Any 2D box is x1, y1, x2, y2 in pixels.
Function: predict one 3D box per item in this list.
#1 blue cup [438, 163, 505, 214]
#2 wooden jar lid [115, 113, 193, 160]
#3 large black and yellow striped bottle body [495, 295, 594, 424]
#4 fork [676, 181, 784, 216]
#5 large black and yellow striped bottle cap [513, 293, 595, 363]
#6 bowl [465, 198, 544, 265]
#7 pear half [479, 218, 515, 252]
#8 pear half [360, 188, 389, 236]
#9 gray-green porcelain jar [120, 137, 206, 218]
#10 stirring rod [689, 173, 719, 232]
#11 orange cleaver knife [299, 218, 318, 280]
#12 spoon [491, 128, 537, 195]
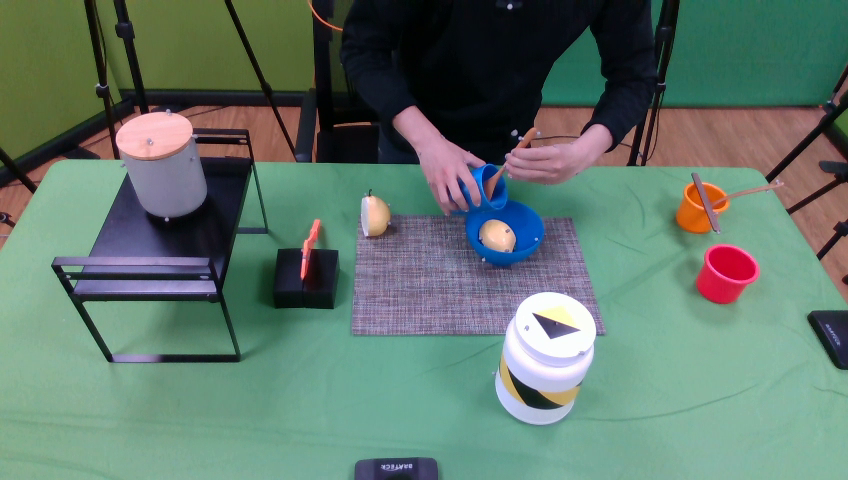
[{"bbox_3d":[0.082,-0.086,1.096,0.100,0.093,0.092,-13,37,33],"label":"blue cup"},{"bbox_3d":[-0.399,-0.151,0.900,0.108,0.021,0.107,3,46,-3],"label":"wooden jar lid"},{"bbox_3d":[0.183,0.182,0.923,0.131,0.185,0.130,2,46,-2],"label":"large black and yellow striped bottle body"},{"bbox_3d":[0.618,-0.084,1.235,0.207,0.019,0.028,-23,21,38],"label":"fork"},{"bbox_3d":[0.186,0.123,0.863,0.115,0.019,0.114,3,45,-3],"label":"large black and yellow striped bottle cap"},{"bbox_3d":[0.149,-0.004,1.167,0.151,0.077,0.150,2,46,-2],"label":"bowl"},{"bbox_3d":[0.143,-0.011,1.163,0.070,0.031,0.087,-18,56,-13],"label":"pear half"},{"bbox_3d":[-0.096,-0.060,1.181,0.056,0.110,0.076,-13,52,-17],"label":"pear half"},{"bbox_3d":[-0.403,-0.106,0.946,0.106,0.127,0.105,3,46,-2],"label":"gray-green porcelain jar"},{"bbox_3d":[0.566,-0.079,1.225,0.014,0.006,0.175,2,45,2],"label":"stirring rod"},{"bbox_3d":[-0.214,0.013,1.125,0.012,0.077,0.210,6,17,-5],"label":"orange cleaver knife"},{"bbox_3d":[0.136,-0.125,1.052,0.041,0.194,0.021,49,38,14],"label":"spoon"}]
